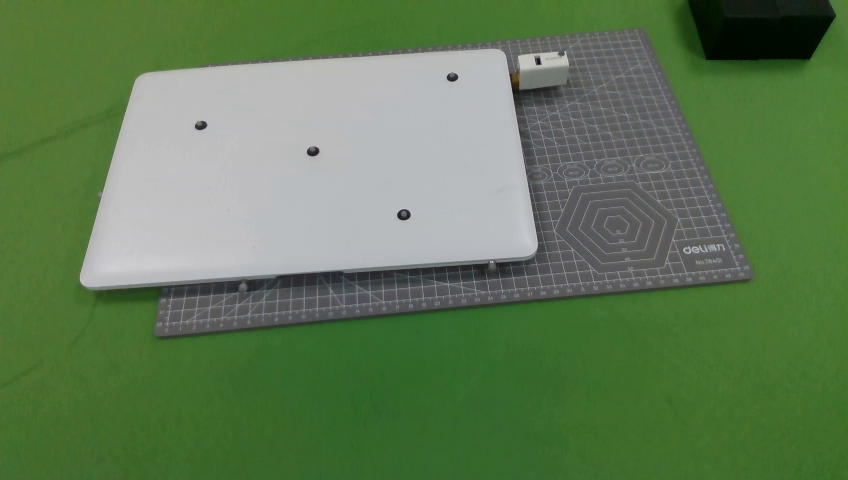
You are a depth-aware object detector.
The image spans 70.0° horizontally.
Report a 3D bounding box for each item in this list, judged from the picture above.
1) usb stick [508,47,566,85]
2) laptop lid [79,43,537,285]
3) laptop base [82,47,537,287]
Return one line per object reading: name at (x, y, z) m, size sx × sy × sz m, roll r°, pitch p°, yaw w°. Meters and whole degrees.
usb stick at (0.099, -0.159, 0.558) m, size 0.059 × 0.027 × 0.021 m, roll -6°, pitch 58°, yaw 5°
laptop lid at (-0.094, -0.076, 0.515) m, size 0.357 × 0.013 × 0.239 m, roll -3°, pitch 59°, yaw 1°
laptop base at (-0.094, -0.071, 0.526) m, size 0.354 × 0.023 × 0.233 m, roll -4°, pitch 60°, yaw 0°
